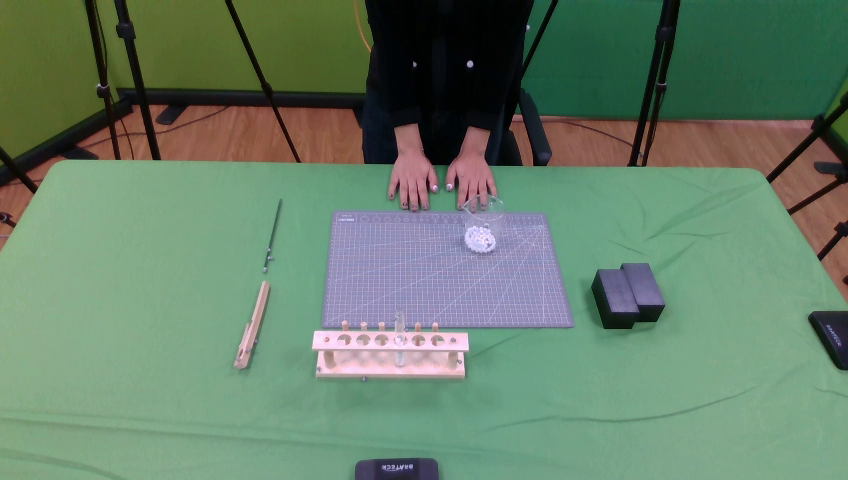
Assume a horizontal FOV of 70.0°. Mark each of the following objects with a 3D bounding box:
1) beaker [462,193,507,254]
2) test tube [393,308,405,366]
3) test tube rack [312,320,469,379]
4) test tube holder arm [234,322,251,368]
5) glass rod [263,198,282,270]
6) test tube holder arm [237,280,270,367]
[{"bbox_3d":[0.113,-0.030,1.177,0.084,0.101,0.073,6,46,3],"label":"beaker"},{"bbox_3d":[-0.038,0.153,0.935,0.017,0.151,0.017,1,49,-1],"label":"test tube"},{"bbox_3d":[-0.053,0.173,0.984,0.242,0.085,0.066,1,46,-3],"label":"test tube rack"},{"bbox_3d":[-0.299,0.173,1.013,0.010,0.015,0.087,-16,42,22],"label":"test tube holder arm"},{"bbox_3d":[-0.299,-0.017,1.203,0.008,0.008,0.198,1,46,-2],"label":"glass rod"},{"bbox_3d":[-0.291,0.140,1.042,0.013,0.015,0.177,-17,41,21],"label":"test tube holder arm"}]
